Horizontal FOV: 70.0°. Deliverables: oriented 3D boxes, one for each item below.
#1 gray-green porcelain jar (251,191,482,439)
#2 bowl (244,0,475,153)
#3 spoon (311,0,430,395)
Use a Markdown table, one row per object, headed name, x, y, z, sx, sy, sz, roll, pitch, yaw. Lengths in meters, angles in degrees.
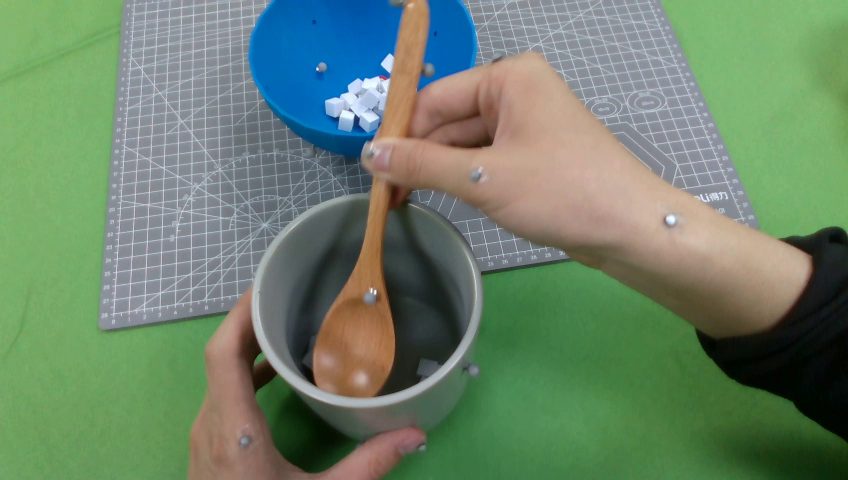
| name | x | y | z | sx | sy | sz | roll | pitch | yaw |
| --- | --- | --- | --- | --- | --- | --- | --- | --- | --- |
| gray-green porcelain jar | -0.024 | 0.049 | 0.329 | 0.106 | 0.127 | 0.105 | 0 | 64 | 1 |
| bowl | -0.041 | -0.115 | 0.429 | 0.151 | 0.077 | 0.150 | 0 | 64 | 1 |
| spoon | -0.020 | -0.016 | 0.282 | 0.041 | 0.021 | 0.194 | 15 | 104 | 12 |
